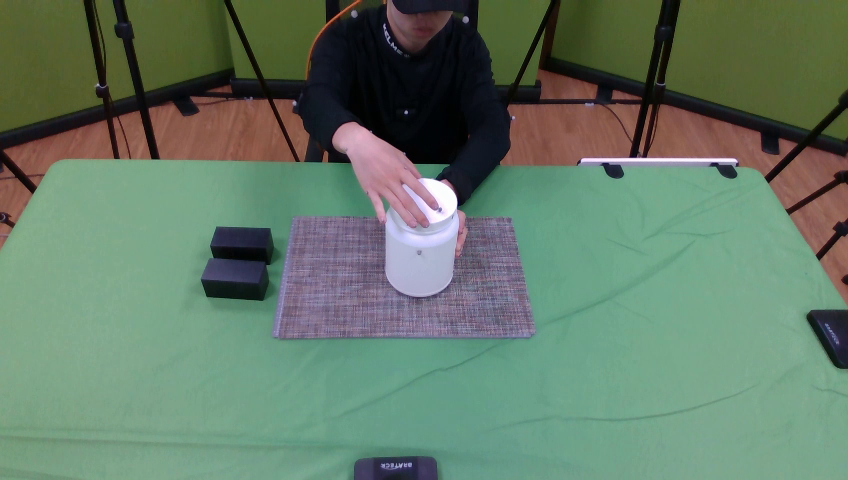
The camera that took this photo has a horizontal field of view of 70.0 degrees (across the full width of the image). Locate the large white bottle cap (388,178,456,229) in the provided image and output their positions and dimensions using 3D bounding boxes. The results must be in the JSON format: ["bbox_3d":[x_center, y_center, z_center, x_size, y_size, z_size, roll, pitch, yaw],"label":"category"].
[{"bbox_3d":[-0.003,-0.063,1.020,0.115,0.018,0.114,2,45,-2],"label":"large white bottle cap"}]

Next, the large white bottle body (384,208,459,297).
[{"bbox_3d":[-0.006,-0.002,1.082,0.131,0.185,0.130,2,46,-2],"label":"large white bottle body"}]
